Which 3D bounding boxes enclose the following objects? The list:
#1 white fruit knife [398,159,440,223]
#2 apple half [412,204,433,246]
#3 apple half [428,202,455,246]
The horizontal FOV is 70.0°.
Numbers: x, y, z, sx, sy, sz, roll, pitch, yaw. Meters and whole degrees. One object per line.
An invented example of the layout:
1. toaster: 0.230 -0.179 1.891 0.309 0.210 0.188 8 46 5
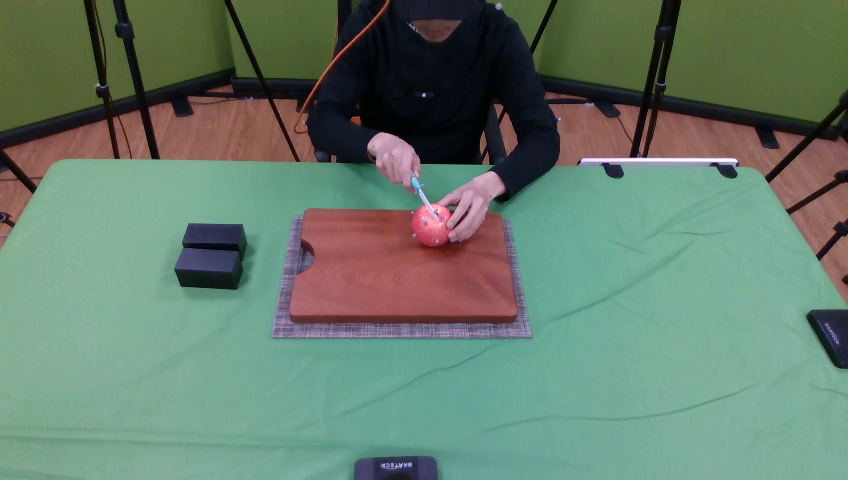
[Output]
1. white fruit knife: -0.009 -0.095 1.136 0.016 0.027 0.206 -20 45 -12
2. apple half: -0.007 -0.024 1.141 0.033 0.081 0.080 -6 47 -14
3. apple half: 0.031 -0.030 1.149 0.053 0.075 0.080 -5 44 -12
